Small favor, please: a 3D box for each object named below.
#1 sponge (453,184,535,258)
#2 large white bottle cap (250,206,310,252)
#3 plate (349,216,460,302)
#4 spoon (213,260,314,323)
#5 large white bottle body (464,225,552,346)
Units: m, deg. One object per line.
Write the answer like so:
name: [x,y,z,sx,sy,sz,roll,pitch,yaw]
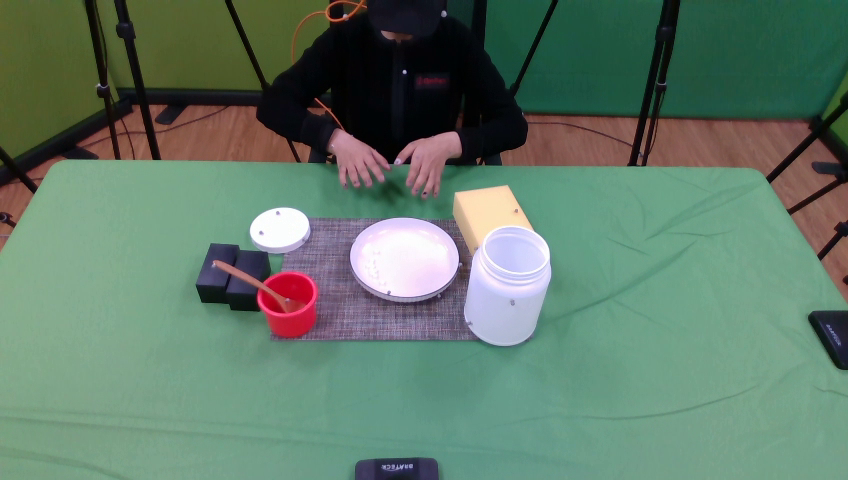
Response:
sponge: [0.144,-0.016,1.192,0.118,0.061,0.205,-10,48,-13]
large white bottle cap: [-0.284,-0.023,1.197,0.115,0.018,0.114,1,46,-1]
plate: [-0.038,0.038,1.142,0.209,0.038,0.208,2,46,-2]
spoon: [-0.265,0.083,1.009,0.195,0.021,0.041,40,40,-28]
large white bottle body: [0.141,0.076,1.017,0.131,0.185,0.130,2,46,-2]
